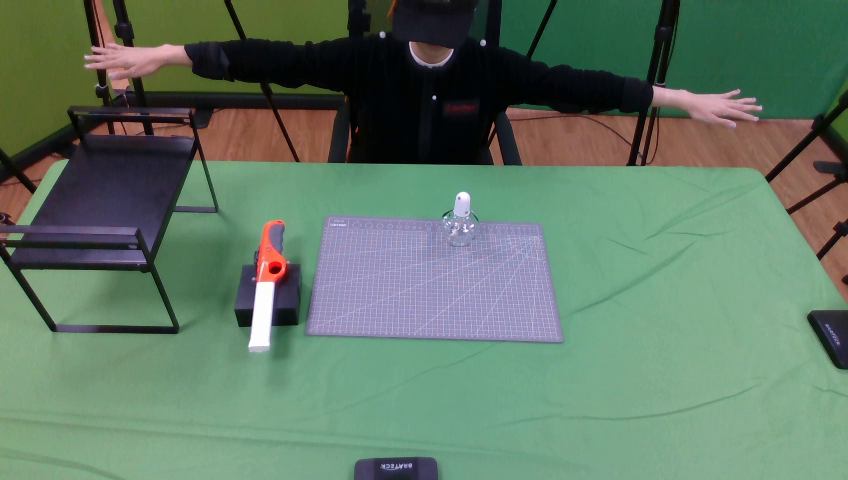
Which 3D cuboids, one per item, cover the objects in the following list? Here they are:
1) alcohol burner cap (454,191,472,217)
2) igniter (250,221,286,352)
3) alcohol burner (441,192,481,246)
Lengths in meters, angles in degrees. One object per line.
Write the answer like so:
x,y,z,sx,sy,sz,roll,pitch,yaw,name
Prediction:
0.076,-0.071,1.150,0.034,0.048,0.033,2,42,-1,alcohol burner cap
-0.269,0.068,1.041,0.057,0.025,0.274,0,48,-7,igniter
0.073,-0.046,1.176,0.078,0.119,0.077,2,44,-2,alcohol burner
